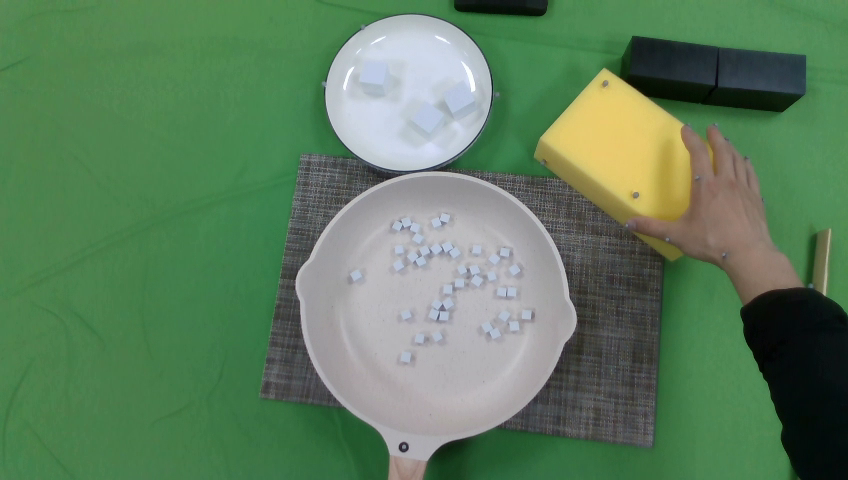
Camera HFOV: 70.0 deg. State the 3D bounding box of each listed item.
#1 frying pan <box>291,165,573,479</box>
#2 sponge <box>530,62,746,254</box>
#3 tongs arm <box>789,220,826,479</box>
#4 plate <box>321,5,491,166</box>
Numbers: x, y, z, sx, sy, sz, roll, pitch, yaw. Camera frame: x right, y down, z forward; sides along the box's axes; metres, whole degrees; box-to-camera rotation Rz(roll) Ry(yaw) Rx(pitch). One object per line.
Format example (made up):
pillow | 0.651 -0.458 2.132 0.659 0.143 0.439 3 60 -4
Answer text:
frying pan | -0.011 0.160 0.648 0.306 0.103 0.485 9 72 5
sponge | 0.244 -0.095 0.708 0.206 0.061 0.118 40 82 10
tongs arm | 0.429 0.166 0.672 0.028 0.028 0.386 9 81 2
plate | -0.022 -0.188 0.751 0.207 0.039 0.207 0 80 3
